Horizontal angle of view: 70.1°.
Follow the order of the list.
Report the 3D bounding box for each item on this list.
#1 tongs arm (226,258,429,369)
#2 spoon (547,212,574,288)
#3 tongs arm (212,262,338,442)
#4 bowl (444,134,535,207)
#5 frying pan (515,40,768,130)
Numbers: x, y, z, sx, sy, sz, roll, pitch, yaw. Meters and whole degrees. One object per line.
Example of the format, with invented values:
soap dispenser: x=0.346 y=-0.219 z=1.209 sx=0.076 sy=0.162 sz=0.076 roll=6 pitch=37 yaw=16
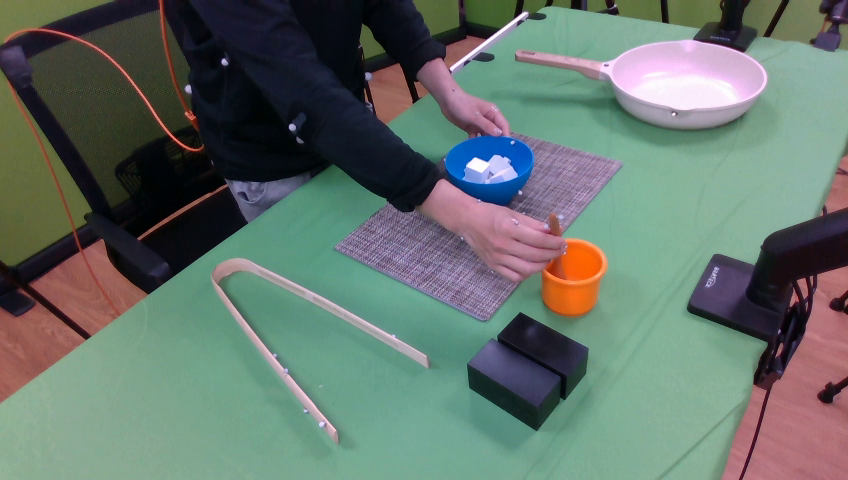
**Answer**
tongs arm: x=-0.150 y=0.098 z=0.873 sx=0.384 sy=0.028 sz=0.028 roll=22 pitch=50 yaw=30
spoon: x=0.175 y=0.016 z=0.788 sx=0.041 sy=0.195 sz=0.021 roll=31 pitch=69 yaw=30
tongs arm: x=-0.208 y=0.136 z=0.830 sx=0.051 sy=0.026 sz=0.381 roll=-31 pitch=45 yaw=-28
bowl: x=0.112 y=-0.109 z=1.029 sx=0.151 sy=0.077 sz=0.150 roll=-4 pitch=41 yaw=4
frying pan: x=0.423 y=-0.338 z=1.236 sx=0.486 sy=0.103 sz=0.307 roll=16 pitch=44 yaw=13
